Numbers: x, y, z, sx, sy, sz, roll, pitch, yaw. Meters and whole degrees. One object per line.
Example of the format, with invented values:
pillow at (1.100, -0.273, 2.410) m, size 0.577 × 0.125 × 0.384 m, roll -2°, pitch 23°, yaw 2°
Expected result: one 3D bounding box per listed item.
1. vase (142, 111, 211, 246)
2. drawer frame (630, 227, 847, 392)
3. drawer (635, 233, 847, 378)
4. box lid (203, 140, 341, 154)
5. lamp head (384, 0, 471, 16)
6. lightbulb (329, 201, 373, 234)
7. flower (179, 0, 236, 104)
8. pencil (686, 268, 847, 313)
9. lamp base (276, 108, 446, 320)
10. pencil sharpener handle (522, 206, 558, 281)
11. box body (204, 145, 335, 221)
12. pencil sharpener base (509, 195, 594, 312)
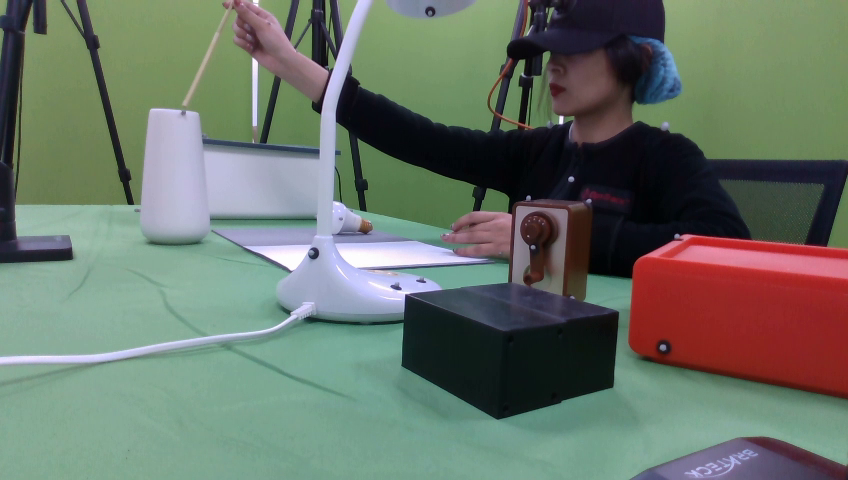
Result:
vase at (-0.378, -0.093, 0.920) m, size 0.098 × 0.200 × 0.098 m, roll 2°, pitch 9°, yaw 0°
drawer frame at (0.292, 0.043, 0.484) m, size 0.201 × 0.082 × 0.214 m, roll 7°, pitch 9°, yaw 29°
drawer at (0.292, 0.044, 0.488) m, size 0.193 × 0.073 × 0.213 m, roll 7°, pitch 9°, yaw 30°
box lid at (-0.396, -0.212, 1.373) m, size 0.373 × 0.015 × 0.262 m, roll -1°, pitch 9°, yaw -29°
lamp head at (-0.001, -0.301, 0.599) m, size 0.112 × 0.112 × 0.123 m, roll 4°, pitch -30°, yaw 14°
lightbulb at (-0.143, -0.036, 1.108) m, size 0.108 × 0.059 × 0.059 m, roll 16°, pitch 0°, yaw -28°
flower at (-0.318, -0.359, 0.974) m, size 0.038 × 0.361 × 0.044 m, roll -5°, pitch -33°, yaw 35°
pencil at (0.308, 0.045, 0.515) m, size 0.194 × 0.012 × 0.012 m, roll 13°, pitch 5°, yaw -12°
lamp base at (-0.061, -0.027, 0.555) m, size 0.160 × 0.180 × 0.180 m, roll 4°, pitch 10°, yaw 20°
pencil sharpener handle at (0.101, 0.003, 0.555) m, size 0.036 × 0.067 × 0.031 m, roll 0°, pitch 5°, yaw 31°
box body at (-0.411, -0.135, 1.386) m, size 0.366 × 0.160 × 0.253 m, roll -2°, pitch 9°, yaw -29°
pencil sharpener base at (0.126, 0.011, 0.601) m, size 0.061 × 0.107 × 0.077 m, roll 7°, pitch 9°, yaw 30°
